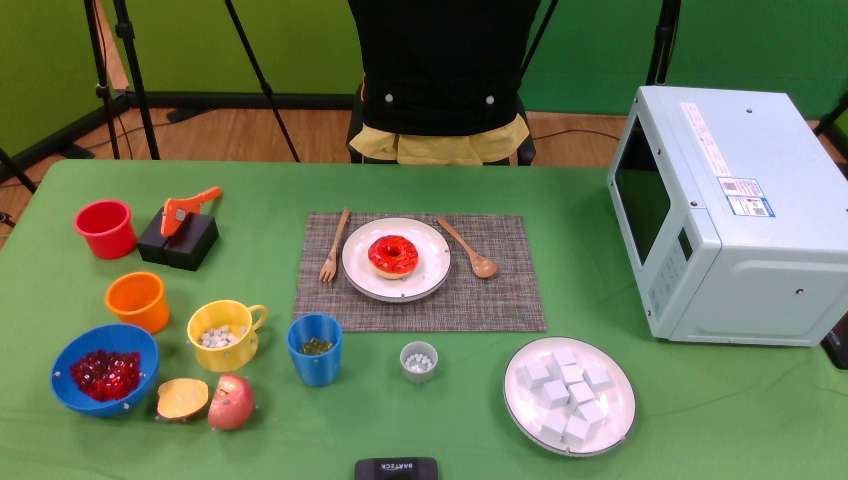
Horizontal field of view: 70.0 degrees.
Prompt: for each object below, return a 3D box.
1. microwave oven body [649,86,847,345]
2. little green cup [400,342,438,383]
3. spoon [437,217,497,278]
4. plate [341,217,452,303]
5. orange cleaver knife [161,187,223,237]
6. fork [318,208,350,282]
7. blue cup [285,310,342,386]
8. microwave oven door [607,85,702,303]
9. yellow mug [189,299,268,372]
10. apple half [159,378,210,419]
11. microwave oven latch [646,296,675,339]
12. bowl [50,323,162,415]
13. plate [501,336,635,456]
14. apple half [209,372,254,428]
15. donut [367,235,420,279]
[{"bbox_3d":[0.568,-0.053,1.118,0.326,0.261,0.439,2,45,-1],"label":"microwave oven body"},{"bbox_3d":[-0.010,0.202,0.991,0.061,0.039,0.061,2,47,-2],"label":"little green cup"},{"bbox_3d":[0.080,0.010,1.188,0.041,0.022,0.192,-34,55,-8],"label":"spoon"},{"bbox_3d":[-0.052,0.039,1.140,0.209,0.038,0.208,2,46,-2],"label":"plate"},{"bbox_3d":[-0.449,-0.059,1.181,0.012,0.077,0.211,14,17,6],"label":"orange cleaver knife"},{"bbox_3d":[-0.170,0.005,1.177,0.028,0.019,0.206,2,47,9],"label":"fork"},{"bbox_3d":[-0.170,0.179,0.958,0.093,0.101,0.092,2,44,-2],"label":"blue cup"},{"bbox_3d":[0.423,-0.094,1.140,0.039,0.245,0.353,2,46,-1],"label":"microwave oven door"},{"bbox_3d":[-0.316,0.148,1.002,0.131,0.064,0.099,-32,56,-31],"label":"yellow mug"},{"bbox_3d":[-0.366,0.247,0.926,0.081,0.033,0.081,8,31,-5],"label":"apple half"},{"bbox_3d":[0.412,0.134,1.061,0.030,0.029,0.078,4,45,1],"label":"microwave oven latch"},{"bbox_3d":[-0.472,0.209,0.924,0.151,0.077,0.150,3,45,-2],"label":"bowl"},{"bbox_3d":[0.225,0.248,0.963,0.208,0.039,0.206,2,46,-2],"label":"plate"},{"bbox_3d":[-0.282,0.243,0.908,0.053,0.075,0.080,8,42,-2],"label":"apple half"},{"bbox_3d":[-0.056,0.032,1.131,0.099,0.048,0.098,3,45,-3],"label":"donut"}]
